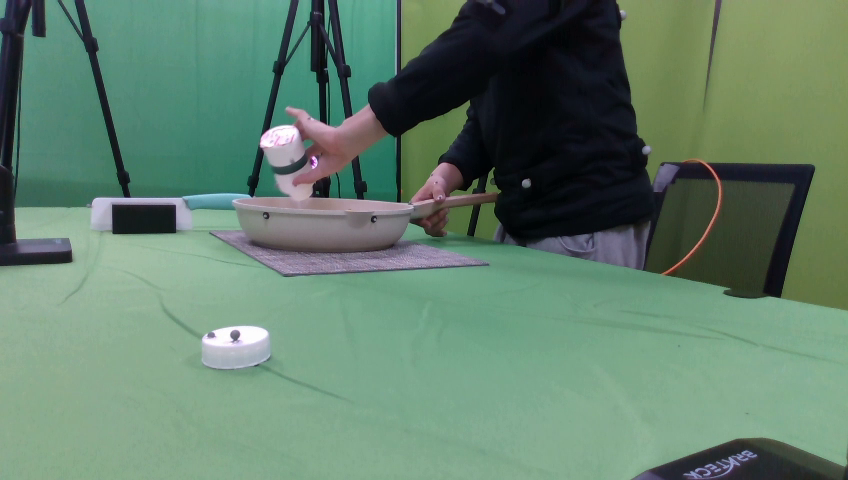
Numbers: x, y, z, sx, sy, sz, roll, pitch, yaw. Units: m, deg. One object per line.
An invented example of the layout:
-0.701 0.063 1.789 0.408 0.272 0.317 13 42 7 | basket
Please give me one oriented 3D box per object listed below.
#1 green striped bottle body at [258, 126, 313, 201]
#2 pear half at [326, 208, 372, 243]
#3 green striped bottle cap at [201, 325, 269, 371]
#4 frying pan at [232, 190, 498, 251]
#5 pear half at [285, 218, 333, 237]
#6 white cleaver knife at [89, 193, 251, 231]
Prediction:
-0.224 -0.122 0.998 0.063 0.119 0.063 -7 43 7 | green striped bottle body
-0.128 -0.026 1.017 0.076 0.056 0.109 6 3 -18 | pear half
-0.129 0.073 0.415 0.044 0.020 0.044 2 8 0 | green striped bottle cap
-0.073 -0.051 1.048 0.490 0.102 0.305 -11 13 -27 | frying pan
-0.198 -0.023 1.054 0.088 0.031 0.070 -10 19 -44 | pear half
-0.454 -0.052 1.115 0.288 0.066 0.021 -4 14 -27 | white cleaver knife
